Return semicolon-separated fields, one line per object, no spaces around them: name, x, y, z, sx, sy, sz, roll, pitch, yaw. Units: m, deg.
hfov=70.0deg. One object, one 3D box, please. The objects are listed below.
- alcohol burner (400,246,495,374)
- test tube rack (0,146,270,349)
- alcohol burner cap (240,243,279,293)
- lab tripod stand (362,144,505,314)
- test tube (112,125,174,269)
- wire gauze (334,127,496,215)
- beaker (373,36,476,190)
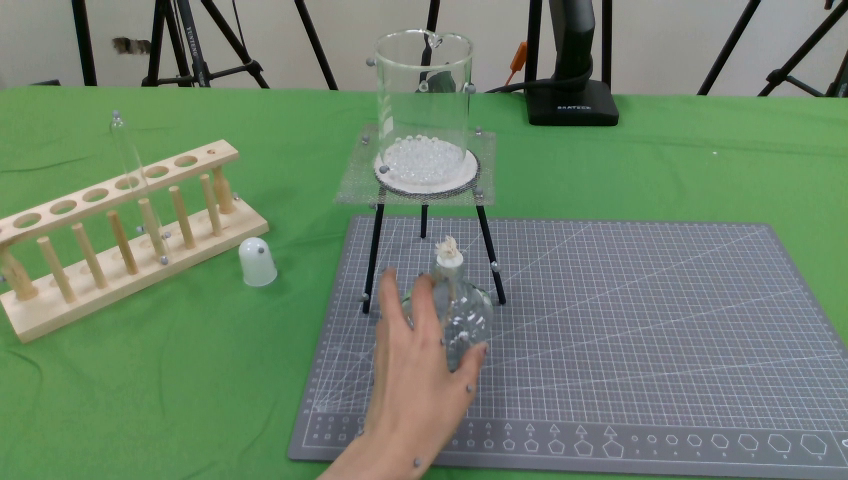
alcohol burner;0.019;0.051;0.483;0.078;0.120;0.077;0;40;0
test tube rack;-0.278;-0.002;0.582;0.242;0.086;0.066;-29;46;-30
alcohol burner cap;-0.160;0.024;0.583;0.034;0.048;0.033;0;39;0
lab tripod stand;0.008;-0.007;0.540;0.148;0.132;0.147;1;38;0
test tube;-0.255;-0.035;0.552;0.017;0.151;0.017;0;37;0
wire gauze;-0.002;-0.058;0.498;0.121;0.011;0.124;3;41;5
beaker;0.001;-0.097;0.469;0.074;0.101;0.083;9;39;9
